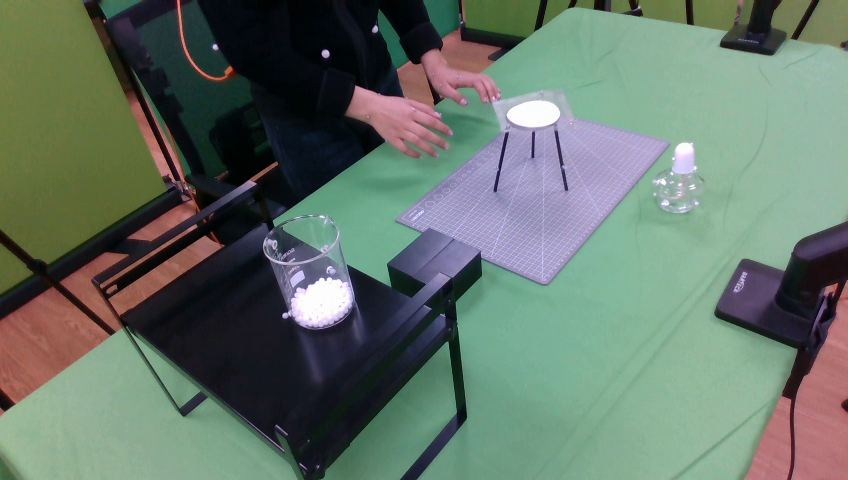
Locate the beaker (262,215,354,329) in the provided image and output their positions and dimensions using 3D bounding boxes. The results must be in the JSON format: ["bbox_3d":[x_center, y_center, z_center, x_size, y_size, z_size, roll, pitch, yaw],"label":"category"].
[{"bbox_3d":[-0.112,0.034,0.616,0.073,0.101,0.084,13,44,23],"label":"beaker"}]

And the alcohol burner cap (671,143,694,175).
[{"bbox_3d":[0.403,-0.129,0.941,0.034,0.048,0.033,-9,39,8],"label":"alcohol burner cap"}]

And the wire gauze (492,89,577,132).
[{"bbox_3d":[0.181,-0.213,1.002,0.125,0.011,0.121,-5,41,3],"label":"wire gauze"}]

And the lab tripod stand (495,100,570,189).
[{"bbox_3d":[0.186,-0.161,1.043,0.148,0.132,0.147,-4,43,5],"label":"lab tripod stand"}]

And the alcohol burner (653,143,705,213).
[{"bbox_3d":[0.408,-0.102,0.963,0.078,0.119,0.077,-5,42,5],"label":"alcohol burner"}]
